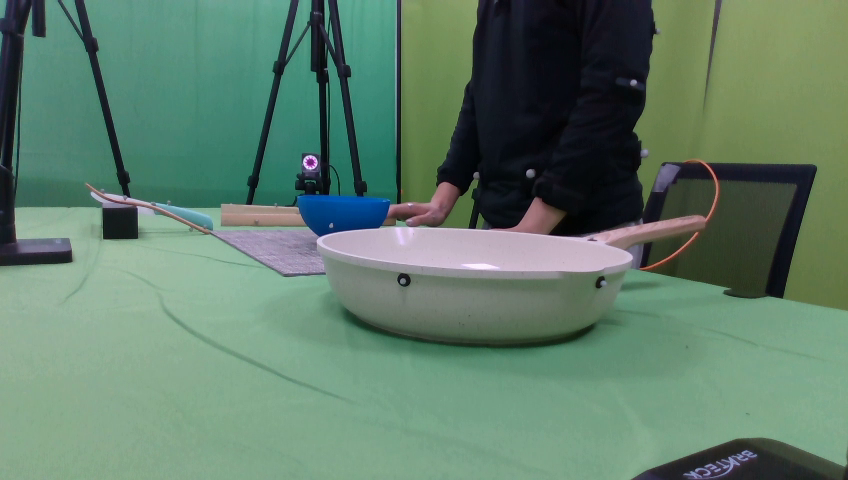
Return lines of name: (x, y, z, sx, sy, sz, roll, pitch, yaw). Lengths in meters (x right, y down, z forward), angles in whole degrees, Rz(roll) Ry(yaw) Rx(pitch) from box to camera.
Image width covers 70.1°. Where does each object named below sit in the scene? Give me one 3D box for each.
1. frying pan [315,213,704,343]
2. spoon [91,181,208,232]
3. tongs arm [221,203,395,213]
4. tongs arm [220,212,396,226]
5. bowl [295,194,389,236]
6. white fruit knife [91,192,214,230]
frying pan: (0.133, 0.014, 0.629, 0.490, 0.102, 0.305, -11, 14, -29)
spoon: (-0.461, -0.053, 1.023, 0.195, 0.021, 0.041, 21, 22, -24)
tongs arm: (-0.258, -0.061, 1.368, 0.386, 0.026, 0.050, 1, 8, -14)
tongs arm: (-0.233, -0.046, 1.292, 0.389, 0.028, 0.028, -1, 6, -27)
bowl: (-0.132, -0.032, 0.980, 0.151, 0.077, 0.151, 2, 7, 0)
white fruit knife: (-0.477, -0.055, 1.077, 0.208, 0.027, 0.016, 15, -5, -30)
